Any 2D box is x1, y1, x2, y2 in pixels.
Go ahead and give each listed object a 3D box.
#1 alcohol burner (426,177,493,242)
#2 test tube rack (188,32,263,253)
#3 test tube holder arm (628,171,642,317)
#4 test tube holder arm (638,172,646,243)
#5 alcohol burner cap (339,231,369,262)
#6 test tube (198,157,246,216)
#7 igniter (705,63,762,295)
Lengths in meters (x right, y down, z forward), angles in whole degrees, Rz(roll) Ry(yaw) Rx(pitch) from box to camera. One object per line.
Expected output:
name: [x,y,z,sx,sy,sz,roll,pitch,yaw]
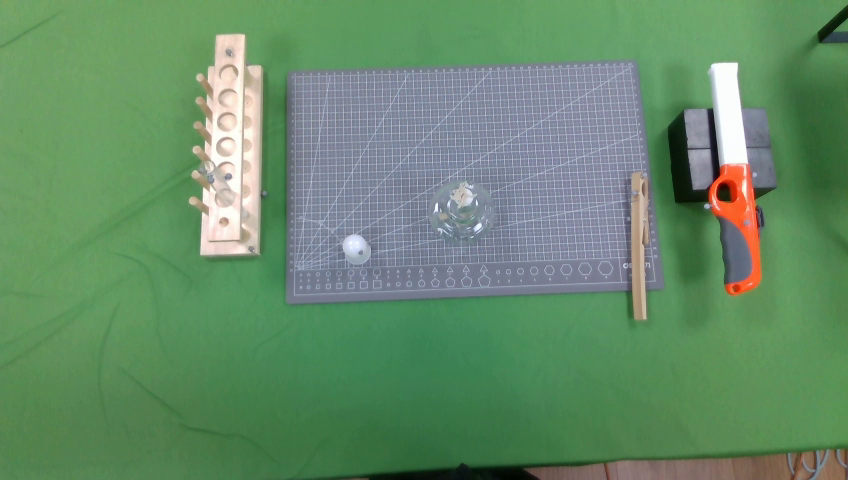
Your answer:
alcohol burner: [0.041,-0.038,0.683,0.078,0.119,0.077,0,79,0]
test tube rack: [-0.236,-0.112,0.710,0.067,0.085,0.241,-1,78,-1]
test tube holder arm: [0.252,0.004,0.722,0.013,0.015,0.177,13,75,-28]
test tube holder arm: [0.261,-0.039,0.735,0.010,0.015,0.087,13,75,-28]
alcohol burner cap: [-0.083,0.005,0.707,0.034,0.048,0.033,0,77,0]
test tube: [-0.213,-0.054,0.648,0.017,0.151,0.017,1,75,-4]
igniter: [0.351,-0.074,0.696,0.057,0.025,0.275,0,77,5]
